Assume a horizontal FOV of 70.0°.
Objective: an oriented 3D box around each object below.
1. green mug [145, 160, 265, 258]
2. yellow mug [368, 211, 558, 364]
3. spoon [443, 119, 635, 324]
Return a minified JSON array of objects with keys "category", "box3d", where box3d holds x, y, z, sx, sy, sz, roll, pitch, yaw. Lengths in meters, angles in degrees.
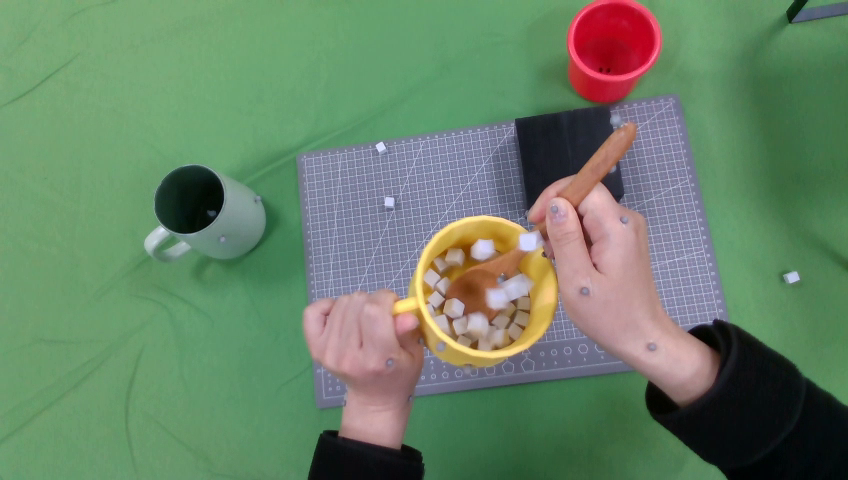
[{"category":"green mug","box3d":[-0.248,-0.024,0.671,0.125,0.105,0.092,-40,78,-2]},{"category":"yellow mug","box3d":[0.024,0.040,0.435,0.131,0.064,0.099,-14,76,-10]},{"category":"spoon","box3d":[0.071,-0.004,0.398,0.041,0.194,0.021,36,41,-2]}]
